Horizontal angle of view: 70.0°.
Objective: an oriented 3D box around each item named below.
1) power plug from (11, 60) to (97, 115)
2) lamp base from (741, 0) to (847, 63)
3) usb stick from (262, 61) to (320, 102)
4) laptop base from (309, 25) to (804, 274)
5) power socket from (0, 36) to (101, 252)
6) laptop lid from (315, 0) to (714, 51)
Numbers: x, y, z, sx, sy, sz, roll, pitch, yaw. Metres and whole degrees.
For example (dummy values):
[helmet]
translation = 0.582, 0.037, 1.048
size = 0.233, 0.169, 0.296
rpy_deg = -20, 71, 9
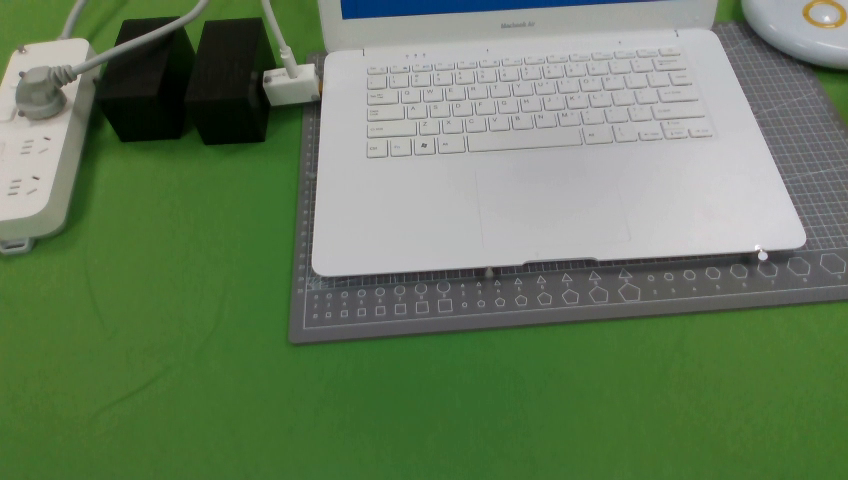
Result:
[power plug]
translation = -0.298, -0.117, 0.495
size = 0.072, 0.053, 0.035
rpy_deg = 2, 57, 3
[lamp base]
translation = 0.381, -0.272, 0.506
size = 0.159, 0.182, 0.178
rpy_deg = 28, 58, 20
[usb stick]
translation = -0.107, -0.137, 0.521
size = 0.059, 0.027, 0.021
rpy_deg = -4, 58, 0
[laptop base]
translation = 0.089, -0.081, 0.491
size = 0.354, 0.023, 0.233
rpy_deg = -4, 60, 0
[power socket]
translation = -0.325, -0.092, 0.507
size = 0.072, 0.033, 0.224
rpy_deg = -7, 56, -3
[laptop lid]
translation = 0.077, -0.275, 0.486
size = 0.357, 0.244, 0.013
rpy_deg = -5, 36, 1
